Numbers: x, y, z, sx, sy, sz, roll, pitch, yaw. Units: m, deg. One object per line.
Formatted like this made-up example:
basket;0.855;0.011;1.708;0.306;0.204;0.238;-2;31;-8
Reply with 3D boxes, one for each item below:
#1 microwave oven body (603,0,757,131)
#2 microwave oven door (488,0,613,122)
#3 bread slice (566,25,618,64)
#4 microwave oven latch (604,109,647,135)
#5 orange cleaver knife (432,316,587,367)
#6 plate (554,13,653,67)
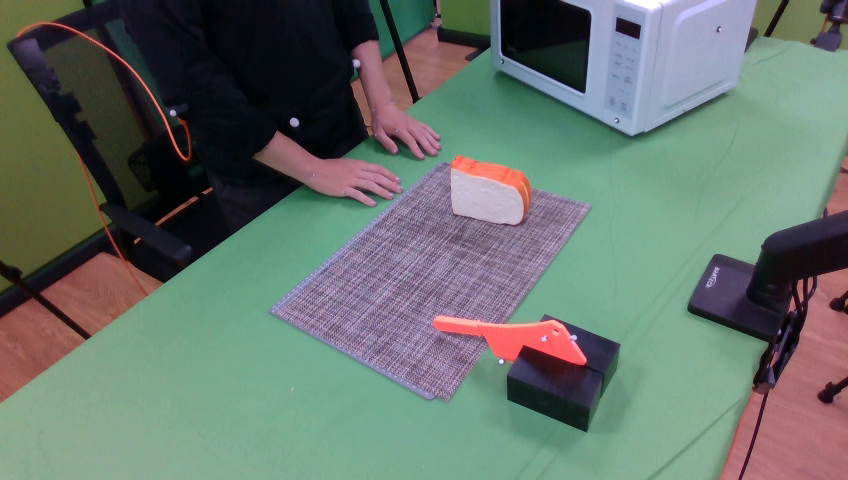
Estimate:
microwave oven body;0.396;-0.448;1.248;0.327;0.261;0.437;-27;44;-21
microwave oven door;0.250;-0.412;1.219;0.039;0.245;0.352;-27;44;-21
bread slice;0.362;-0.428;1.323;0.107;0.018;0.133;0;51;7
microwave oven latch;0.378;-0.225;1.139;0.030;0.029;0.078;-26;43;-20
orange cleaver knife;0.101;0.127;0.761;0.210;0.077;0.012;-1;34;40
plate;0.386;-0.428;1.310;0.207;0.039;0.206;-3;45;4
